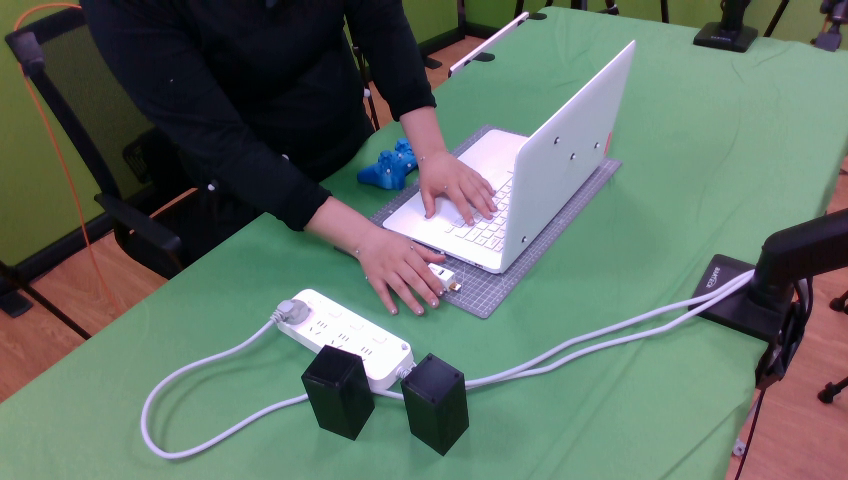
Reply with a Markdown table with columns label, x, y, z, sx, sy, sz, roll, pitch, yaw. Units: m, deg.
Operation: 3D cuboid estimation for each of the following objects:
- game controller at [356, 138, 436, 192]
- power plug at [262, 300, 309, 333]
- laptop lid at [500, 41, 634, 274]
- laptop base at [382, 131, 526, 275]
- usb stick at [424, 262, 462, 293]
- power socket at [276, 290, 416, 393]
| label | x | y | z | sx | sy | sz | roll | pitch | yaw |
| --- | --- | --- | --- | --- | --- | --- | --- | --- | --- |
| game controller | -0.048 | -0.149 | 1.135 | 0.096 | 0.052 | 0.155 | 26 | 51 | 29 |
| power plug | -0.192 | 0.110 | 0.829 | 0.073 | 0.053 | 0.035 | -36 | 48 | -24 |
| laptop lid | 0.218 | -0.127 | 0.905 | 0.013 | 0.242 | 0.358 | 28 | 50 | 25 |
| laptop base | 0.124 | -0.080 | 1.049 | 0.233 | 0.023 | 0.355 | 20 | 47 | 33 |
| usb stick | 0.030 | 0.057 | 0.888 | 0.058 | 0.027 | 0.021 | 28 | 59 | 30 |
| power socket | -0.114 | 0.133 | 0.820 | 0.225 | 0.033 | 0.072 | 24 | 48 | 32 |
